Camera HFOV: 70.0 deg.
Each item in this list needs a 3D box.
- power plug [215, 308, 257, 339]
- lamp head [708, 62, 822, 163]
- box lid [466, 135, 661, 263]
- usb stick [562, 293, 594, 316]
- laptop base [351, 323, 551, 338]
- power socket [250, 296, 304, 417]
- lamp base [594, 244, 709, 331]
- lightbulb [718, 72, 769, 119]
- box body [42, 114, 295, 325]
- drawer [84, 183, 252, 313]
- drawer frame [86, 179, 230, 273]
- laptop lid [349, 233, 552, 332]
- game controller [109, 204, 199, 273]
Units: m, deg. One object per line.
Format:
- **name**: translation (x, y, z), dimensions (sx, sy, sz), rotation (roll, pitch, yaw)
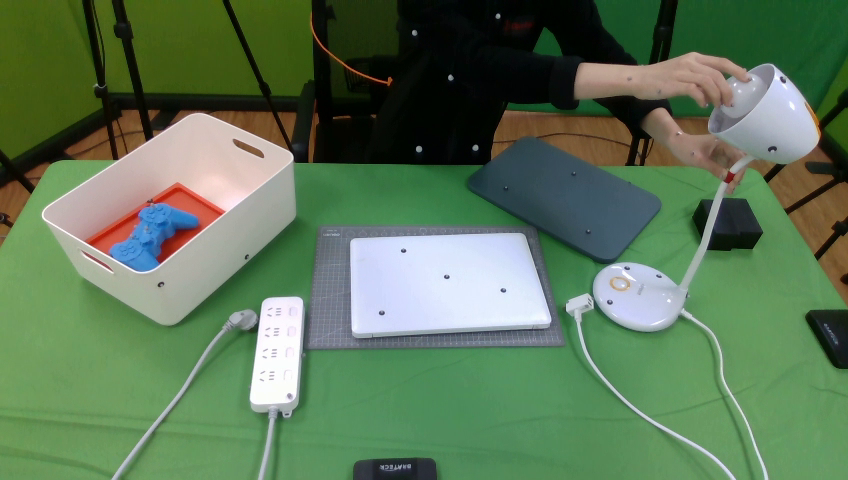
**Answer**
- **power plug**: translation (-0.316, 0.143, 1.024), dimensions (0.072, 0.053, 0.035), rotation (-33, 57, -8)
- **lamp head**: translation (0.463, -0.155, 0.813), dimensions (0.123, 0.112, 0.112), rotation (36, 47, -12)
- **box lid**: translation (0.306, -0.102, 1.327), dimensions (0.370, 0.015, 0.263), rotation (32, 52, 25)
- **usb stick**: translation (0.274, 0.118, 1.087), dimensions (0.021, 0.059, 0.027), rotation (38, 45, -27)
- **laptop base**: translation (0.040, 0.080, 1.125), dimensions (0.355, 0.023, 0.234), rotation (-2, 43, -6)
- **power socket**: translation (-0.239, 0.182, 0.996), dimensions (0.072, 0.033, 0.225), rotation (-2, 47, -5)
- **lamp base**: translation (0.412, 0.052, 1.070), dimensions (0.179, 0.181, 0.160), rotation (18, 48, 9)
- **lightbulb**: translation (0.441, -0.177, 0.805), dimensions (0.108, 0.059, 0.059), rotation (38, 50, -5)
- **box body**: translation (-0.437, -0.046, 1.110), dimensions (0.253, 0.161, 0.363), rotation (24, 49, 19)
- **drawer**: translation (-0.457, 0.008, 1.099), dimensions (0.194, 0.073, 0.211), rotation (29, 49, 21)
- **drawer frame**: translation (-0.453, 0.010, 1.100), dimensions (0.201, 0.083, 0.213), rotation (28, 54, 23)
- **laptop lid**: translation (0.040, 0.070, 1.119), dimensions (0.357, 0.013, 0.240), rotation (-1, 44, -5)
- **game controller**: translation (-0.467, -0.005, 1.044), dimensions (0.097, 0.052, 0.154), rotation (8, 45, 10)
